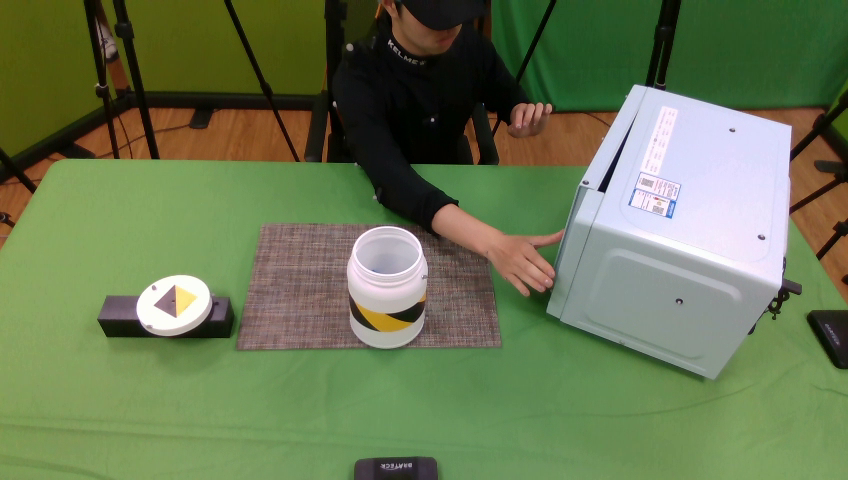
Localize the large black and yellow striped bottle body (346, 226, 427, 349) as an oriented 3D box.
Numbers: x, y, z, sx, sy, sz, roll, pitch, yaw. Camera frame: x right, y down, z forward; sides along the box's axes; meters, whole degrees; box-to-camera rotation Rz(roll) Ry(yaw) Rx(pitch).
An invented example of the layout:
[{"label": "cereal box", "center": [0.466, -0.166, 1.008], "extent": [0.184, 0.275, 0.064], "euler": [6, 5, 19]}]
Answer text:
[{"label": "large black and yellow striped bottle body", "center": [-0.062, 0.078, 0.998], "extent": [0.131, 0.185, 0.130], "euler": [2, 46, -2]}]

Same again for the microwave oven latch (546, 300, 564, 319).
[{"label": "microwave oven latch", "center": [0.243, 0.102, 1.080], "extent": [0.030, 0.029, 0.079], "euler": [23, 48, 18]}]

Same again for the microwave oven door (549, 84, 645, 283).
[{"label": "microwave oven door", "center": [0.334, -0.110, 1.151], "extent": [0.039, 0.245, 0.355], "euler": [23, 49, 17]}]

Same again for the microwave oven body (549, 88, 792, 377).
[{"label": "microwave oven body", "center": [0.456, -0.028, 1.088], "extent": [0.325, 0.261, 0.440], "euler": [20, 47, 16]}]

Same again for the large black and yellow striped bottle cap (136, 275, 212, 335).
[{"label": "large black and yellow striped bottle cap", "center": [-0.411, 0.105, 0.999], "extent": [0.115, 0.019, 0.114], "euler": [3, 47, -3]}]
